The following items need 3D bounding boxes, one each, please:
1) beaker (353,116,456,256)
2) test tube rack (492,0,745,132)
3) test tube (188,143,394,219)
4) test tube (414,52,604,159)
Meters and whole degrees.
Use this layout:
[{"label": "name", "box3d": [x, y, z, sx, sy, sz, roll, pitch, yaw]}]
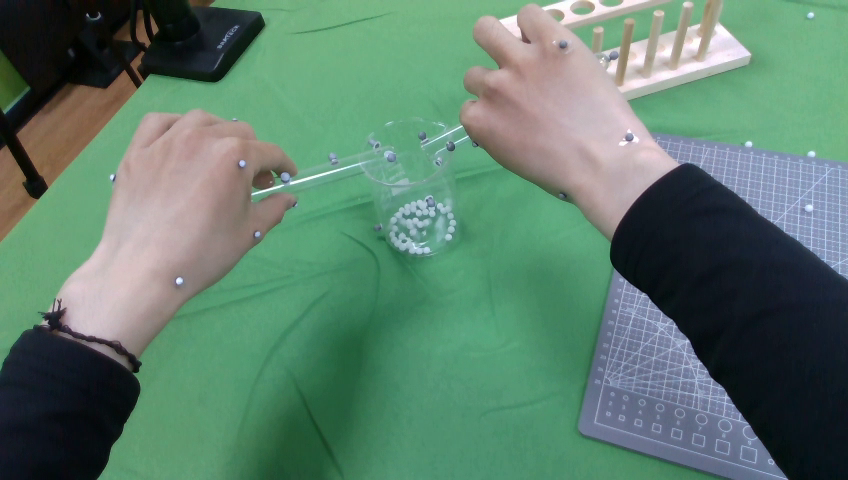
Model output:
[{"label": "beaker", "box3d": [-0.009, -0.041, 0.502, 0.084, 0.101, 0.073, -39, 58, -20]}, {"label": "test tube rack", "box3d": [0.192, -0.191, 0.589, 0.242, 0.086, 0.066, -17, 53, -4]}, {"label": "test tube", "box3d": [-0.092, -0.043, 0.434, 0.151, 0.017, 0.017, -19, 53, -16]}, {"label": "test tube", "box3d": [0.062, -0.098, 0.445, 0.150, 0.017, 0.017, -26, 53, 5]}]
